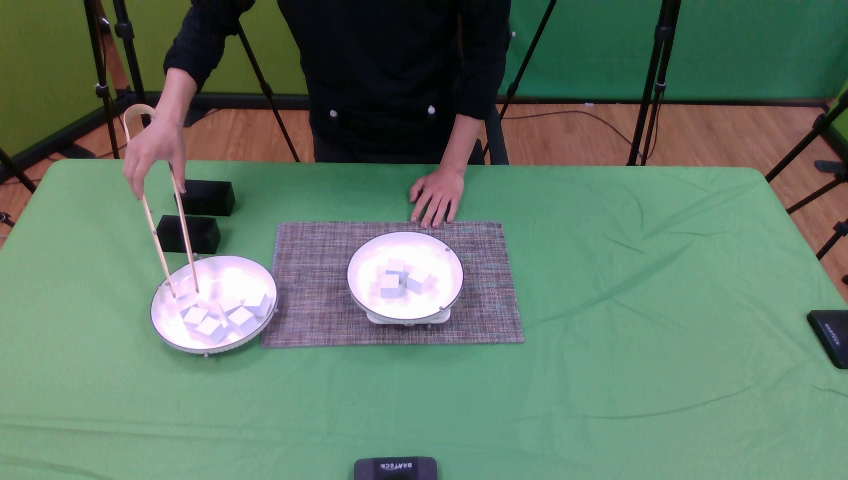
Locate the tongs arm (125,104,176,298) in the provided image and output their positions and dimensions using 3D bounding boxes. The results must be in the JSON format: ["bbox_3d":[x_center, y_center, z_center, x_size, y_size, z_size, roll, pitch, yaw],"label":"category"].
[{"bbox_3d":[-0.476,-0.078,1.078,0.051,0.026,0.383,-19,72,-19],"label":"tongs arm"}]

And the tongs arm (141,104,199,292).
[{"bbox_3d":[-0.453,-0.084,1.086,0.028,0.028,0.385,-17,71,-15],"label":"tongs arm"}]

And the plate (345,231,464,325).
[{"bbox_3d":[-0.034,0.069,1.069,0.209,0.038,0.208,2,46,-2],"label":"plate"}]

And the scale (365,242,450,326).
[{"bbox_3d":[-0.032,0.071,1.113,0.149,0.032,0.199,0,46,-4],"label":"scale"}]

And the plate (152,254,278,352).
[{"bbox_3d":[-0.357,0.111,1.052,0.208,0.039,0.206,2,46,-2],"label":"plate"}]
